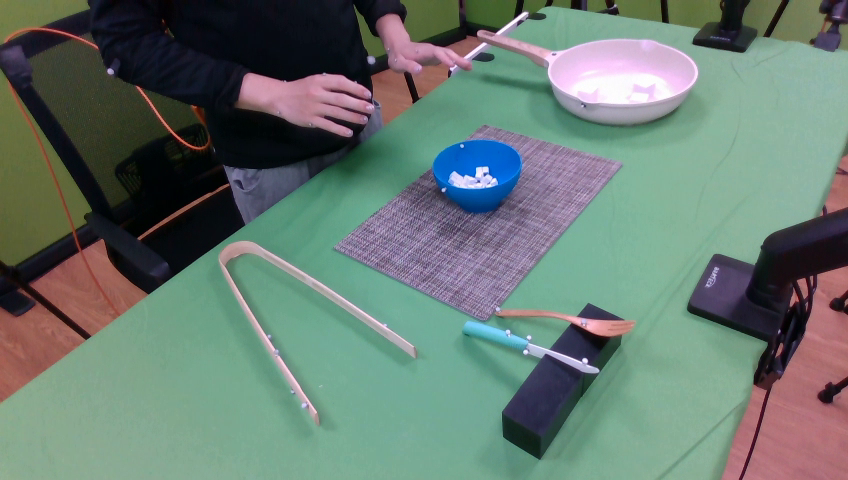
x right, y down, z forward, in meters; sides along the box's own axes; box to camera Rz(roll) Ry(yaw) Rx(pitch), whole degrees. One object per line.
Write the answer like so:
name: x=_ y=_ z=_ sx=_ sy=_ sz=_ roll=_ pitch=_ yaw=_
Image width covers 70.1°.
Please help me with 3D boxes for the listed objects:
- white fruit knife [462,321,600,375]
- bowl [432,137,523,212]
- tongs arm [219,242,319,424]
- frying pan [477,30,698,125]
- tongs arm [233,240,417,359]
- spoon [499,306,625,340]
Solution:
white fruit knife: x=0.126 y=0.132 z=0.752 sx=0.205 sy=0.027 sz=0.016 roll=12 pitch=47 yaw=42
bowl: x=0.091 y=-0.100 z=1.022 sx=0.151 sy=0.077 sz=0.150 roll=-4 pitch=41 yaw=4
tongs arm: x=-0.220 y=0.114 z=0.856 sx=0.051 sy=0.026 sz=0.381 roll=-28 pitch=44 yaw=-24
frying pan: x=0.321 y=-0.371 z=1.290 sx=0.484 sy=0.103 sz=0.308 roll=29 pitch=51 yaw=24
tongs arm: x=-0.157 y=0.078 z=0.895 sx=0.384 sy=0.028 sz=0.028 roll=26 pitch=53 yaw=33
spoon: x=0.169 y=0.101 z=0.773 sx=0.042 sy=0.021 sz=0.192 roll=-10 pitch=13 yaw=-38
